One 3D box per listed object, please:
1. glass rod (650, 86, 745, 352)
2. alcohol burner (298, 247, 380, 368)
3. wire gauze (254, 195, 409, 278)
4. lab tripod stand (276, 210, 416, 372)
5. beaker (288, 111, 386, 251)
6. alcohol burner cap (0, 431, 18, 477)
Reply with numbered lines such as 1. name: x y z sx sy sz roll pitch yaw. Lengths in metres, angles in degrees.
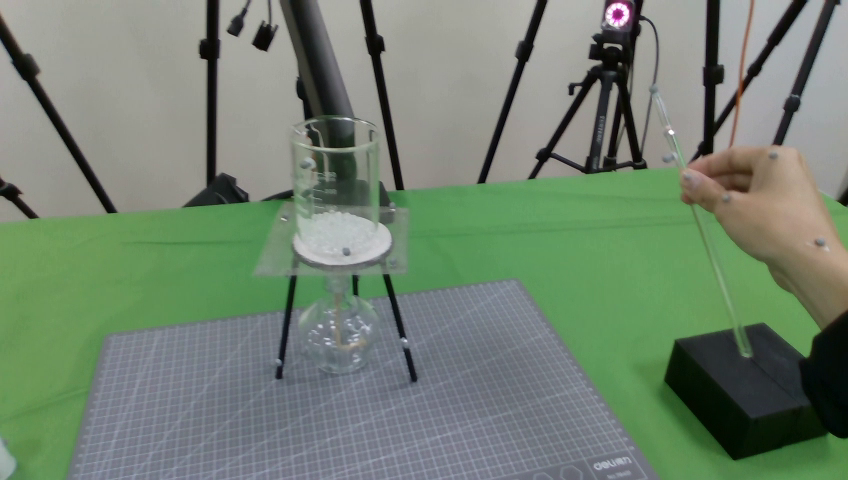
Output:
1. glass rod: 0.194 -0.017 0.432 0.008 0.199 0.008 -16 -6 -1
2. alcohol burner: -0.081 0.060 0.567 0.078 0.120 0.077 0 30 0
3. wire gauze: -0.074 -0.006 0.529 0.121 0.011 0.124 1 34 -1
4. lab tripod stand: -0.069 0.050 0.564 0.148 0.132 0.147 3 31 -1
5. beaker: -0.074 -0.048 0.505 0.083 0.101 0.074 21 36 27
6. alcohol burner cap: -0.338 0.159 0.463 0.034 0.048 0.033 1 31 0
